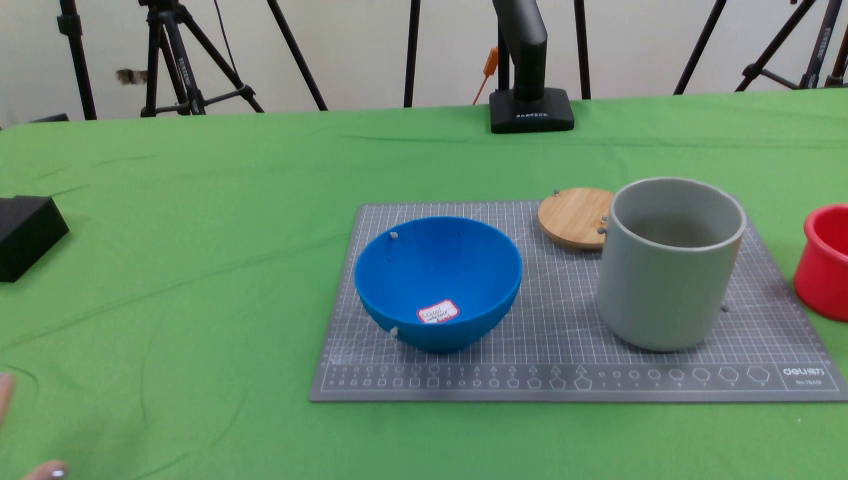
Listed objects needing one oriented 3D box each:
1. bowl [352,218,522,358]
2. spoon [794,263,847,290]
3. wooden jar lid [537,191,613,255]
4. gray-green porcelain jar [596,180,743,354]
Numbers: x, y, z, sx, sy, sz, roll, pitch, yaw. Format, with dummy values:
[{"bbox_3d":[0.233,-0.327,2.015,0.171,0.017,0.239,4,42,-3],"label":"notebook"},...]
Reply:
[{"bbox_3d":[0.014,0.055,0.558,0.151,0.077,0.150,-3,38,3],"label":"bowl"},{"bbox_3d":[0.419,0.012,0.517,0.041,0.193,0.021,-39,94,-38],"label":"spoon"},{"bbox_3d":[0.181,-0.019,0.681,0.108,0.021,0.107,-3,36,3],"label":"wooden jar lid"},{"bbox_3d":[0.208,0.028,0.530,0.106,0.127,0.105,-3,38,3],"label":"gray-green porcelain jar"}]
